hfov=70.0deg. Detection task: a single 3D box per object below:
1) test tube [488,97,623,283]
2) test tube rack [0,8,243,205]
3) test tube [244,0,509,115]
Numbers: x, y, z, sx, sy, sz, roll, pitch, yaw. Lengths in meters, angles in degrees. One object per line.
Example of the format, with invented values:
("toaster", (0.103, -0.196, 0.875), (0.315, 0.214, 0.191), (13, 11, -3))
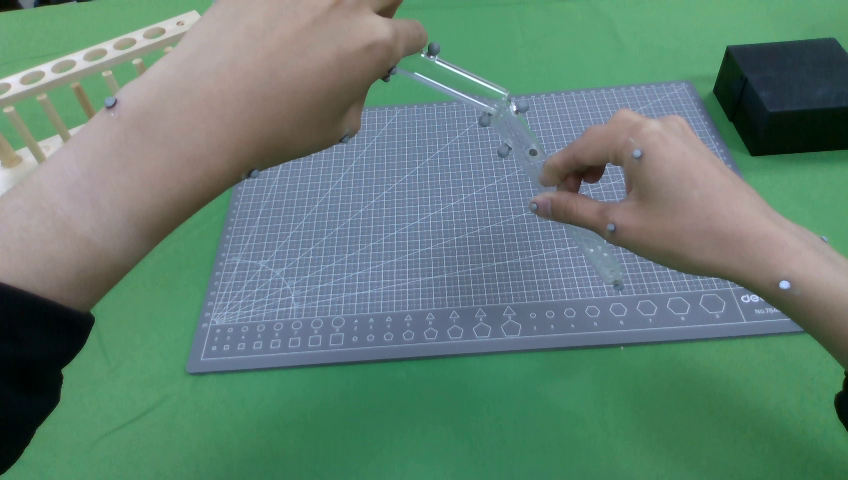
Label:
("test tube", (0.082, -0.024, 0.359), (0.017, 0.152, 0.017), (-28, 34, 21))
("test tube rack", (-0.313, -0.134, 0.592), (0.242, 0.086, 0.066), (-29, 53, -18))
("test tube", (-0.026, -0.101, 0.309), (0.151, 0.017, 0.017), (23, 52, -7))
